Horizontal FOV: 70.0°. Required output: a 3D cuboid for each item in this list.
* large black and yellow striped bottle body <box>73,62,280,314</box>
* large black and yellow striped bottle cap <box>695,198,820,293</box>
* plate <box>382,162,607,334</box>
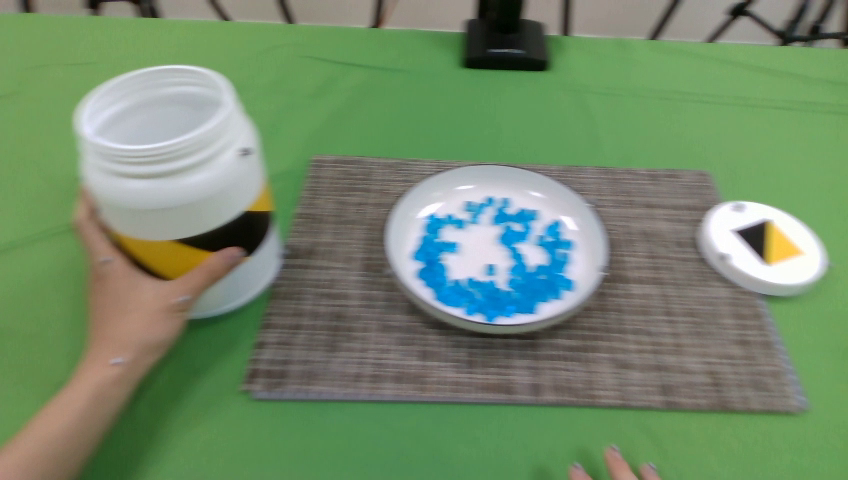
[{"bbox_3d":[-0.200,-0.040,0.507,0.131,0.185,0.129,1,47,-1],"label":"large black and yellow striped bottle body"},{"bbox_3d":[0.330,0.003,0.600,0.115,0.019,0.114,4,48,-4],"label":"large black and yellow striped bottle cap"},{"bbox_3d":[0.065,0.006,0.571,0.208,0.039,0.205,1,47,-1],"label":"plate"}]
